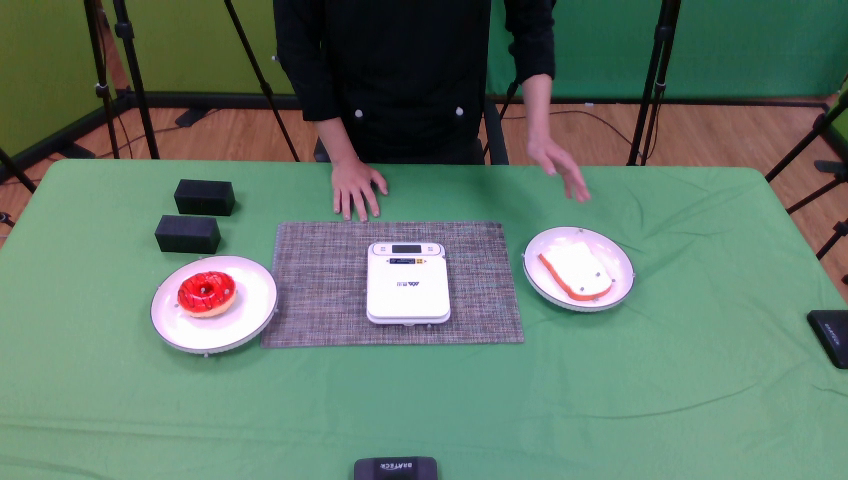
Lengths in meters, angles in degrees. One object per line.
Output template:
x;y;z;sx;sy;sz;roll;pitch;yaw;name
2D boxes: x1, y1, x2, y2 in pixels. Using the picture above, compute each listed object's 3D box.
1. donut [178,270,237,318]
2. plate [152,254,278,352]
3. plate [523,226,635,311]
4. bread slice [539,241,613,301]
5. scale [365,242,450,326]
-0.375;0.092;1.053;0.099;0.048;0.098;1;42;0;donut
-0.357;0.111;1.052;0.208;0.039;0.206;2;46;-2;plate
0.291;0.058;1.151;0.209;0.038;0.208;2;45;-2;plate
0.297;0.058;1.153;0.105;0.019;0.130;-15;50;-18;bread slice
-0.032;0.071;1.113;0.149;0.032;0.199;1;46;-4;scale
